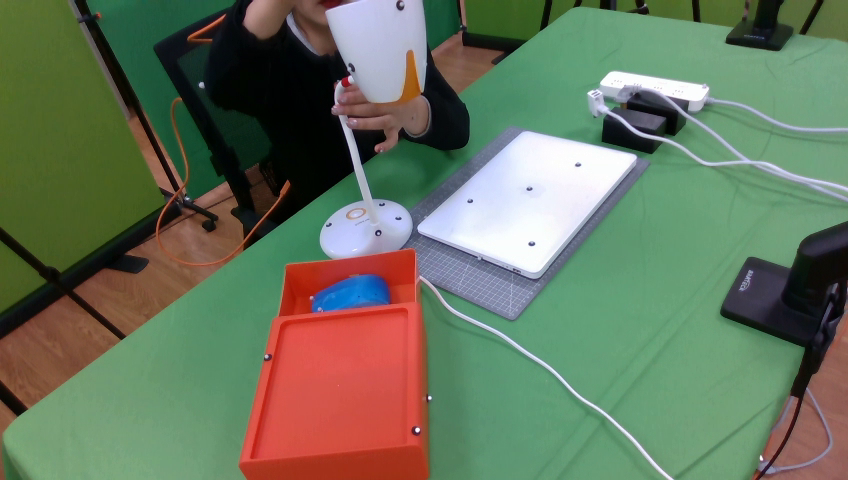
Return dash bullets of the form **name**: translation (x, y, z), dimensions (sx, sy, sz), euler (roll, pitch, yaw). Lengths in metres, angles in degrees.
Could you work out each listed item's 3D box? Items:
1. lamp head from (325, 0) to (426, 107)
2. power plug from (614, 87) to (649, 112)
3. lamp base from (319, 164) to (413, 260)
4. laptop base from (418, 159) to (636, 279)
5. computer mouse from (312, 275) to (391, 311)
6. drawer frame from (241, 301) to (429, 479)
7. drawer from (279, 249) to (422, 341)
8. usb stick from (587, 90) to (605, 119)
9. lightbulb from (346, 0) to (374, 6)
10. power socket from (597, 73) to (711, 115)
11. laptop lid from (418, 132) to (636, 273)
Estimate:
- **lamp head**: translation (-0.048, -0.218, 0.708), dimensions (0.112, 0.123, 0.112), euler (-9, 24, 4)
- **power plug**: translation (0.406, -0.275, 1.192), dimensions (0.035, 0.053, 0.072), euler (-15, 24, -16)
- **lamp base**: translation (-0.102, -0.068, 0.962), dimensions (0.161, 0.181, 0.177), euler (-30, 46, -20)
- **laptop base**: translation (0.185, -0.074, 1.042), dimensions (0.233, 0.023, 0.355), euler (19, 48, 35)
- **computer mouse**: translation (-0.107, 0.087, 0.884), dimensions (0.117, 0.041, 0.062), euler (-14, 40, 0)
- **drawer frame**: translation (-0.096, 0.183, 0.741), dimensions (0.202, 0.083, 0.212), euler (-6, 40, 3)
- **drawer**: translation (-0.100, 0.115, 0.828), dimensions (0.194, 0.073, 0.210), euler (-7, 40, 2)
- **usb stick**: translation (0.334, -0.258, 1.170), dimensions (0.021, 0.059, 0.027), euler (-28, 44, -6)
- **lightbulb**: translation (-0.059, -0.268, 0.688), dimensions (0.059, 0.108, 0.059), euler (-13, 27, 7)
- **power socket**: translation (0.469, -0.304, 1.249), dimensions (0.225, 0.033, 0.072), euler (20, 49, 30)
- **laptop lid**: translation (0.181, -0.084, 1.036), dimensions (0.239, 0.013, 0.358), euler (22, 49, 35)
